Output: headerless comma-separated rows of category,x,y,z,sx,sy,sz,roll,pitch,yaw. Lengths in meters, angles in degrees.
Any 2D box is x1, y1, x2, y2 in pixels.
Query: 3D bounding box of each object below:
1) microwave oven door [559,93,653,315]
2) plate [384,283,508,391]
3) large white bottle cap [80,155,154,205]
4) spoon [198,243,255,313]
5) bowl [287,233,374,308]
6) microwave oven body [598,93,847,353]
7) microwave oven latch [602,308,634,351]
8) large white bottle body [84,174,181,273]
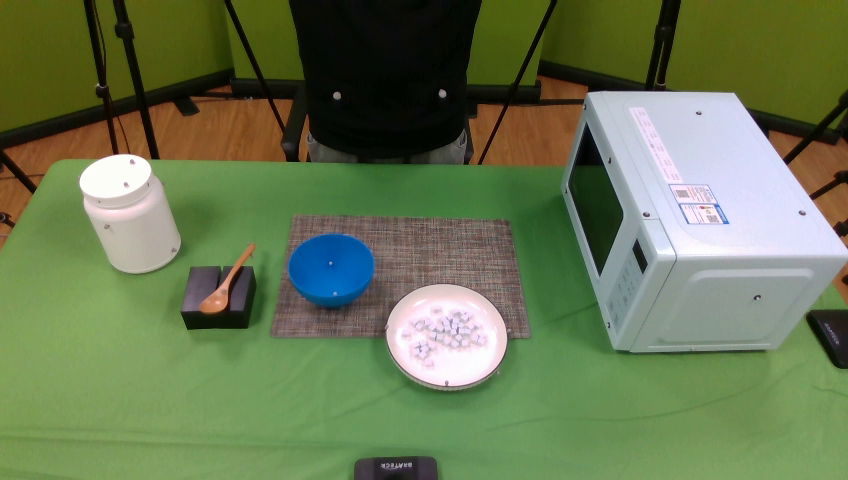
microwave oven door,0.327,-0.074,1.123,0.039,0.245,0.353,-1,46,-5
plate,0.036,0.166,1.029,0.209,0.038,0.208,2,49,-2
large white bottle cap,-0.519,-0.103,1.027,0.115,0.018,0.114,2,46,-2
spoon,-0.333,0.062,1.051,0.041,0.022,0.193,7,40,8
bowl,-0.164,0.068,1.078,0.151,0.077,0.150,3,46,-2
microwave oven body,0.475,-0.041,1.109,0.326,0.261,0.438,-1,45,-4
microwave oven latch,0.332,0.153,1.044,0.030,0.029,0.078,-1,45,-4
large white bottle body,-0.523,-0.045,1.088,0.131,0.185,0.130,2,46,-2
